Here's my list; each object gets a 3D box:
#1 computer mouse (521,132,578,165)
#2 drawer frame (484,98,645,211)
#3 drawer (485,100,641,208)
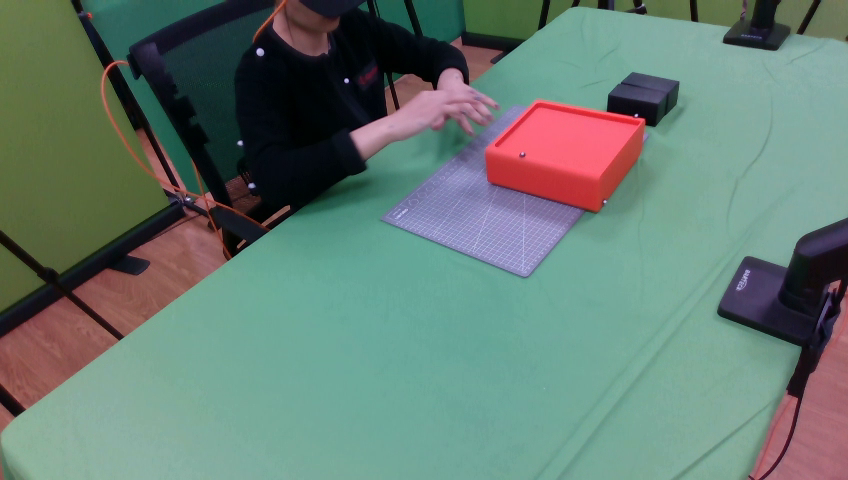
[{"bbox_3d":[0.229,-0.172,1.096,0.062,0.041,0.118,22,35,34],"label":"computer mouse"},{"bbox_3d":[0.248,-0.158,1.070,0.212,0.083,0.202,20,47,29],"label":"drawer frame"},{"bbox_3d":[0.246,-0.158,1.073,0.210,0.073,0.195,21,48,30],"label":"drawer"}]
